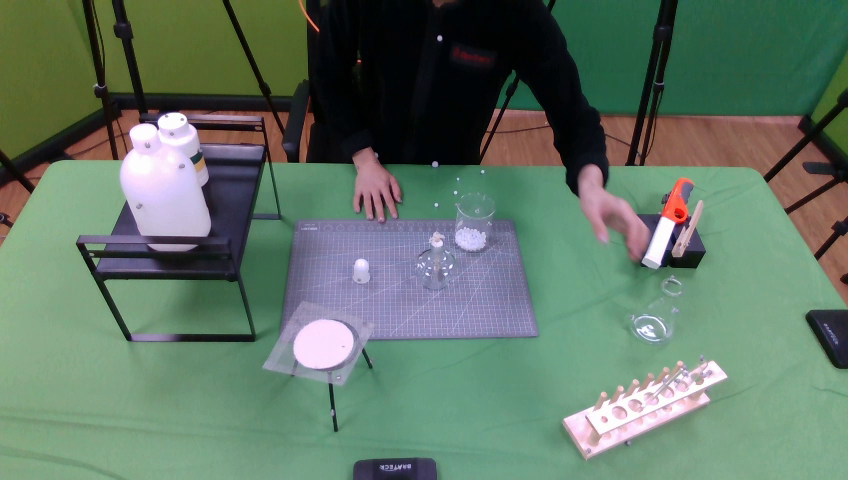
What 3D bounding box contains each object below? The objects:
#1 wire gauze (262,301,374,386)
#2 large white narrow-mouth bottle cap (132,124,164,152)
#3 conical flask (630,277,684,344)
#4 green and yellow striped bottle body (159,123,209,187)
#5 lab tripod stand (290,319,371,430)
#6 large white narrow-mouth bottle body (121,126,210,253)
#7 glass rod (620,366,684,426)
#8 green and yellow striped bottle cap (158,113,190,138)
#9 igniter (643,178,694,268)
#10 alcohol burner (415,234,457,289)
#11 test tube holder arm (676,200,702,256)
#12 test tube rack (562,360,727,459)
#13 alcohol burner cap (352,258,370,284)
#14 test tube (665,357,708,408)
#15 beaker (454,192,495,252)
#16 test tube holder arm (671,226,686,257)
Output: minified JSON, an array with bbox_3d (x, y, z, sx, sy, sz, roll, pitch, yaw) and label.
[{"bbox_3d":[-0.150,0.148,0.873,0.121,0.011,0.124,14,46,12],"label":"wire gauze"},{"bbox_3d":[-0.371,-0.137,0.813,0.038,0.024,0.037,3,46,-3],"label":"large white narrow-mouth bottle cap"},{"bbox_3d":[0.408,0.117,1.045,0.075,0.122,0.075,2,46,-2],"label":"conical flask"},{"bbox_3d":[-0.395,-0.145,0.989,0.063,0.120,0.063,2,46,-2],"label":"green and yellow striped bottle body"},{"bbox_3d":[-0.146,0.194,0.923,0.148,0.132,0.147,1,47,-1],"label":"lab tripod stand"},{"bbox_3d":[-0.378,-0.077,0.875,0.102,0.195,0.101,3,46,-3],"label":"large white narrow-mouth bottle body"},{"bbox_3d":[0.322,0.227,0.866,0.008,0.200,0.008,5,51,-7],"label":"glass rod"},{"bbox_3d":[-0.393,-0.180,0.951,0.045,0.020,0.045,3,44,-2],"label":"green and yellow striped bottle cap"},{"bbox_3d":[0.488,-0.042,1.204,0.057,0.025,0.276,30,52,11],"label":"igniter"},{"bbox_3d":[0.022,0.034,1.099,0.078,0.120,0.077,1,47,-1],"label":"alcohol burner"},{"bbox_3d":[0.522,-0.025,1.190,0.013,0.015,0.178,0,35,41],"label":"test tube holder arm"},{"bbox_3d":[0.341,0.247,0.940,0.243,0.085,0.066,-16,49,-18],"label":"test tube rack"},{"bbox_3d":[-0.117,0.055,1.118,0.034,0.048,0.033,2,46,-2],"label":"alcohol burner cap"},{"bbox_3d":[0.387,0.216,0.905,0.017,0.151,0.017,1,52,-1],"label":"test tube"},{"bbox_3d":[0.097,-0.034,1.180,0.074,0.101,0.084,23,49,16],"label":"beaker"},{"bbox_3d":[0.494,0.001,1.166,0.010,0.015,0.087,0,36,42],"label":"test tube holder arm"}]
